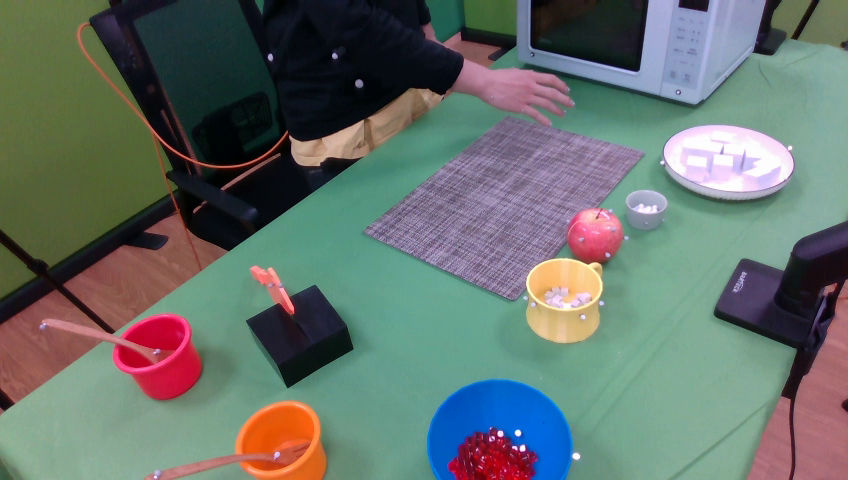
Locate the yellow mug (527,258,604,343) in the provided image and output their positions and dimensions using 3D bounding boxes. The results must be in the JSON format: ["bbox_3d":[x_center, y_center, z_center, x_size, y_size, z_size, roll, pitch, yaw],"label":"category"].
[{"bbox_3d":[0.201,0.073,0.825,0.131,0.064,0.099,-32,46,-27],"label":"yellow mug"}]

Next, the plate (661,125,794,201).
[{"bbox_3d":[0.513,-0.128,1.035,0.207,0.039,0.206,-4,40,4],"label":"plate"}]

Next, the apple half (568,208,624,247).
[{"bbox_3d":[0.259,-0.014,0.914,0.080,0.075,0.053,0,36,15],"label":"apple half"}]

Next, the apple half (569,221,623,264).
[{"bbox_3d":[0.251,0.010,0.884,0.081,0.081,0.032,3,37,12],"label":"apple half"}]

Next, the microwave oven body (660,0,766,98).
[{"bbox_3d":[0.472,-0.513,1.317,0.438,0.261,0.327,26,51,34],"label":"microwave oven body"}]

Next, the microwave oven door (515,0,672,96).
[{"bbox_3d":[0.343,-0.455,1.259,0.353,0.245,0.039,26,51,33],"label":"microwave oven door"}]

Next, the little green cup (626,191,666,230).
[{"bbox_3d":[0.352,-0.046,0.963,0.061,0.039,0.061,-4,40,4],"label":"little green cup"}]

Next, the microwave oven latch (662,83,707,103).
[{"bbox_3d":[0.517,-0.296,1.204,0.078,0.029,0.030,27,52,35],"label":"microwave oven latch"}]

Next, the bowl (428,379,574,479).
[{"bbox_3d":[0.082,0.233,0.644,0.151,0.077,0.150,-4,40,4],"label":"bowl"}]

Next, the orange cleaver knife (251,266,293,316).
[{"bbox_3d":[-0.221,0.071,0.873,0.012,0.077,0.210,-25,11,-21],"label":"orange cleaver knife"}]

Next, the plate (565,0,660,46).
[{"bbox_3d":[0.427,-0.489,1.377,0.209,0.038,0.208,-4,40,4],"label":"plate"}]

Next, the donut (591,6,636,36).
[{"bbox_3d":[0.427,-0.497,1.364,0.099,0.048,0.098,-5,38,5],"label":"donut"}]

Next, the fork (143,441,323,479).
[{"bbox_3d":[-0.189,0.231,0.631,0.028,0.018,0.209,36,13,37],"label":"fork"}]

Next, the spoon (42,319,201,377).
[{"bbox_3d":[-0.385,0.135,0.779,0.195,0.021,0.041,29,37,-26],"label":"spoon"}]
